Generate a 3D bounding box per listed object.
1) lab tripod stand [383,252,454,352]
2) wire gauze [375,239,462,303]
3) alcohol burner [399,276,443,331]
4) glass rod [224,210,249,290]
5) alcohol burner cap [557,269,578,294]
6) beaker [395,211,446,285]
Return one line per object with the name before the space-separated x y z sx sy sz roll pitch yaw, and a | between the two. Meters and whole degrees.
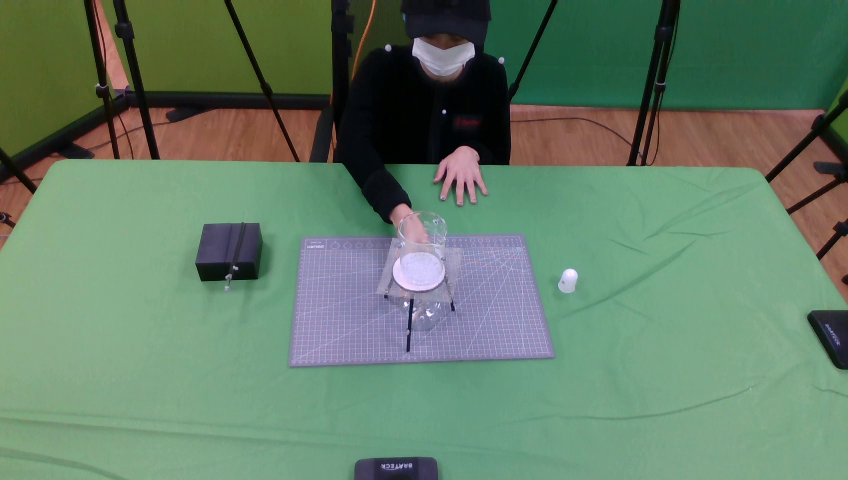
lab tripod stand | -0.016 0.094 1.025 0.148 0.132 0.147 1 46 -1
wire gauze | -0.006 0.049 0.978 0.121 0.011 0.124 10 44 5
alcohol burner | -0.004 0.100 1.033 0.078 0.119 0.077 3 48 -3
glass rod | -0.340 0.013 1.102 0.008 0.008 0.198 2 45 -3
alcohol burner cap | 0.270 0.075 1.135 0.034 0.048 0.033 3 46 -3
beaker | -0.002 0.017 0.941 0.083 0.101 0.074 36 54 29
